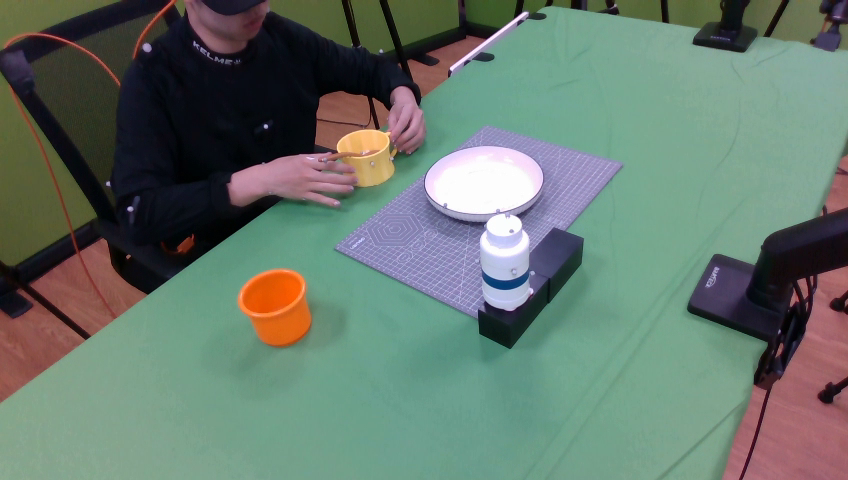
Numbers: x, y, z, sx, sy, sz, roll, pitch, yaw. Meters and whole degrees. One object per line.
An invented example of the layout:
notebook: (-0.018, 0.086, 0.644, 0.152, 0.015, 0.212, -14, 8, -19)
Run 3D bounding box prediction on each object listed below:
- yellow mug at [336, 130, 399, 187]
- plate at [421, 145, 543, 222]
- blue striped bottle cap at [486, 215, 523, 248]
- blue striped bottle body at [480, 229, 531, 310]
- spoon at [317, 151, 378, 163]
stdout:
yellow mug: (-0.099, -0.161, 1.138, 0.131, 0.064, 0.099, -34, 47, -29)
plate: (0.101, -0.094, 1.048, 0.207, 0.039, 0.206, -4, 41, 4)
blue striped bottle cap: (0.098, -0.011, 0.735, 0.044, 0.021, 0.044, -3, 38, 3)
blue striped bottle body: (0.104, 0.027, 0.769, 0.063, 0.121, 0.063, -4, 41, 4)
spoon: (-0.132, -0.149, 1.080, 0.041, 0.021, 0.195, 9, 11, 26)
